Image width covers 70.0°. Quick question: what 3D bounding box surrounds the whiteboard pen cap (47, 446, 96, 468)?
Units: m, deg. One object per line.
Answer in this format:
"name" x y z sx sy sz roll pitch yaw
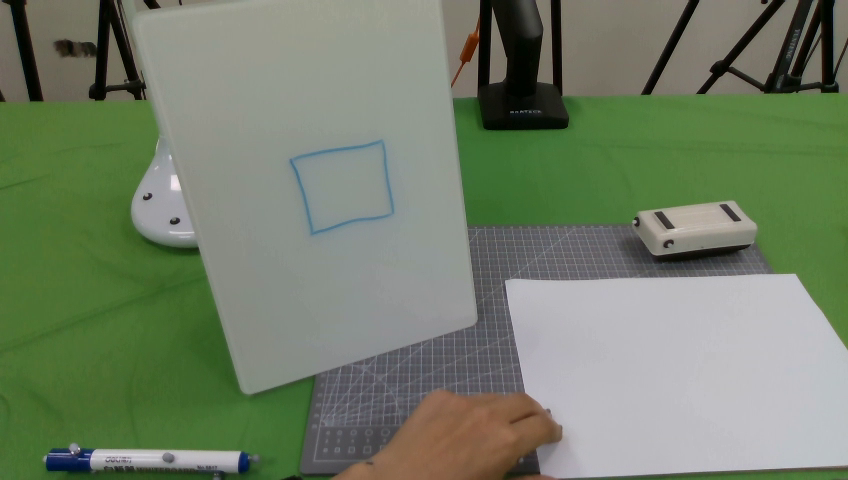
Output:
"whiteboard pen cap" -0.259 0.161 0.449 0.033 0.018 0.018 0 40 -3

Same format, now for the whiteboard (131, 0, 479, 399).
"whiteboard" -0.091 -0.055 0.537 0.218 0.307 0.142 -14 23 -15

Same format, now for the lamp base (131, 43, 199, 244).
"lamp base" -0.264 -0.113 0.659 0.177 0.182 0.160 28 47 32

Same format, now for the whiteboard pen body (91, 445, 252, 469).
"whiteboard pen body" -0.199 0.161 0.451 0.141 0.017 0.017 1 40 -2

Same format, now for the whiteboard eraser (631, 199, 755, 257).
"whiteboard eraser" 0.282 -0.011 0.639 0.113 0.042 0.055 -6 42 -7
